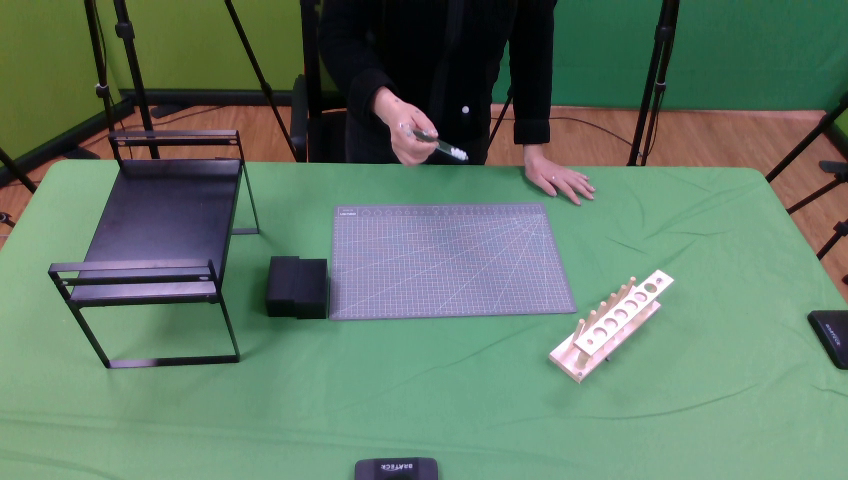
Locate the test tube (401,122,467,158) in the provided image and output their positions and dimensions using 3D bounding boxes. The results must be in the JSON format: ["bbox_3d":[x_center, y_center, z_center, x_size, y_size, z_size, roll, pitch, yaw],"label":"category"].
[{"bbox_3d":[0.020,-0.163,1.002,0.151,0.017,0.017,17,31,-44],"label":"test tube"}]

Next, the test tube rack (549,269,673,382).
[{"bbox_3d":[0.325,0.134,1.048,0.242,0.085,0.066,-32,55,-30],"label":"test tube rack"}]
